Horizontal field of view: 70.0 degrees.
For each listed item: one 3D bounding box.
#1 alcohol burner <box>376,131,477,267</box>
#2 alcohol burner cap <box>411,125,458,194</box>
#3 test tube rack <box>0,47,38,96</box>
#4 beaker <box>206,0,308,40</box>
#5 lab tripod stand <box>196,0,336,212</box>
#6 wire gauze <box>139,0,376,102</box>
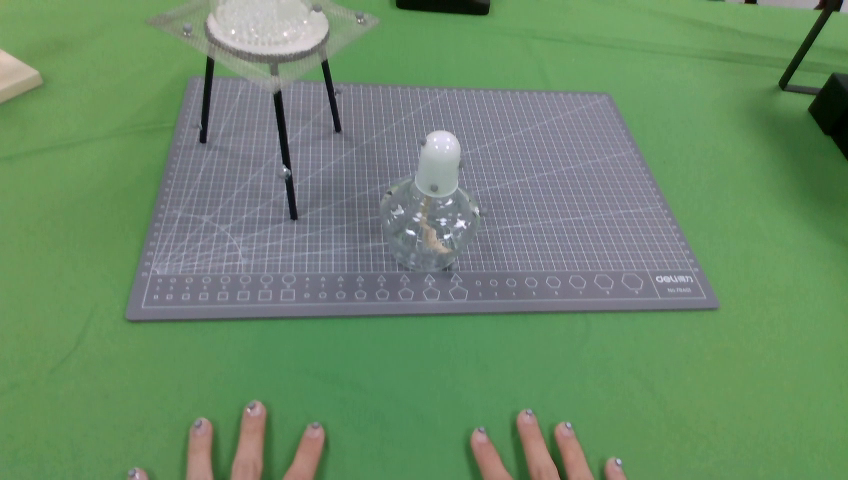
[{"bbox_3d":[0.004,-0.035,0.452,0.078,0.120,0.077,6,47,-6],"label":"alcohol burner"},{"bbox_3d":[0.009,-0.058,0.424,0.034,0.048,0.033,3,53,-4],"label":"alcohol burner cap"},{"bbox_3d":[-0.452,-0.126,0.479,0.066,0.086,0.241,30,50,16],"label":"test tube rack"},{"bbox_3d":[-0.116,-0.193,0.404,0.073,0.101,0.084,31,52,17],"label":"beaker"},{"bbox_3d":[-0.123,-0.117,0.490,0.149,0.132,0.147,6,49,-7],"label":"lab tripod stand"},{"bbox_3d":[-0.117,-0.160,0.441,0.124,0.011,0.121,32,54,13],"label":"wire gauze"}]
